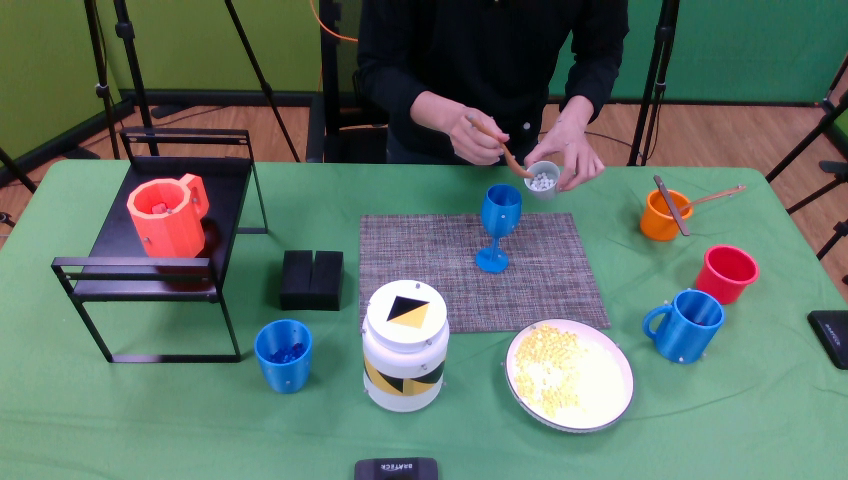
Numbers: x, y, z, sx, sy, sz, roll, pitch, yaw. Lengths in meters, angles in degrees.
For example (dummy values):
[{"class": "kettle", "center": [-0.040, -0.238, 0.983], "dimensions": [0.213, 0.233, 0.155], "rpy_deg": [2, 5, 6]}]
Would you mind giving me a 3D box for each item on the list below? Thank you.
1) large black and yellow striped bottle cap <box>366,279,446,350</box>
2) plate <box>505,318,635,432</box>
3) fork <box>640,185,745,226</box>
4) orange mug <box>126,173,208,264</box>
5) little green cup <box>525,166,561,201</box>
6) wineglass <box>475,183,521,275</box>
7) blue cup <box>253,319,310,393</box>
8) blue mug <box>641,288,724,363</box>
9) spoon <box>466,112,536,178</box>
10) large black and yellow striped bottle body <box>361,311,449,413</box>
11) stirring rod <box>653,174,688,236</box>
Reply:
[{"class": "large black and yellow striped bottle cap", "center": [-0.025, 0.104, 0.864], "dimensions": [0.115, 0.019, 0.114], "rpy_deg": [3, 48, -3]}, {"class": "plate", "center": [0.235, 0.221, 0.991], "dimensions": [0.209, 0.038, 0.208], "rpy_deg": [2, 45, -2]}, {"class": "fork", "center": [0.534, -0.069, 1.215], "dimensions": [0.207, 0.019, 0.028], "rpy_deg": [-26, 27, 33]}, {"class": "orange mug", "center": [-0.371, -0.040, 0.902], "dimensions": [0.083, 0.101, 0.126], "rpy_deg": [18, 52, 13]}, {"class": "little green cup", "center": [0.207, -0.097, 1.055], "dimensions": [0.061, 0.039, 0.061], "rpy_deg": [-5, 37, 4]}, {"class": "wineglass", "center": [0.134, -0.020, 1.115], "dimensions": [0.074, 0.173, 0.073], "rpy_deg": [2, 46, -2]}, {"class": "blue cup", "center": [-0.217, 0.187, 0.943], "dimensions": [0.093, 0.101, 0.092], "rpy_deg": [4, 45, -3]}, {"class": "blue mug", "center": [0.432, 0.144, 1.033], "dimensions": [0.116, 0.106, 0.082], "rpy_deg": [8, 46, 4]}, {"class": "spoon", "center": [0.121, -0.147, 0.946], "dimensions": [0.021, 0.195, 0.041], "rpy_deg": [-49, 44, 3]}, {"class": "large black and yellow striped bottle body", "center": [-0.031, 0.163, 0.924], "dimensions": [0.131, 0.185, 0.130], "rpy_deg": [2, 46, -2]}, {"class": "stirring rod", "center": [0.491, -0.072, 1.211], "dimensions": [0.014, 0.006, 0.175], "rpy_deg": [0, 47, -6]}]
